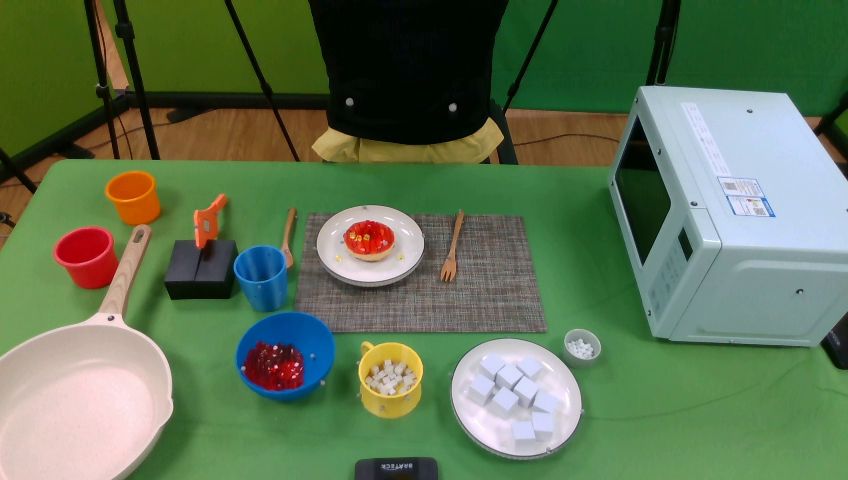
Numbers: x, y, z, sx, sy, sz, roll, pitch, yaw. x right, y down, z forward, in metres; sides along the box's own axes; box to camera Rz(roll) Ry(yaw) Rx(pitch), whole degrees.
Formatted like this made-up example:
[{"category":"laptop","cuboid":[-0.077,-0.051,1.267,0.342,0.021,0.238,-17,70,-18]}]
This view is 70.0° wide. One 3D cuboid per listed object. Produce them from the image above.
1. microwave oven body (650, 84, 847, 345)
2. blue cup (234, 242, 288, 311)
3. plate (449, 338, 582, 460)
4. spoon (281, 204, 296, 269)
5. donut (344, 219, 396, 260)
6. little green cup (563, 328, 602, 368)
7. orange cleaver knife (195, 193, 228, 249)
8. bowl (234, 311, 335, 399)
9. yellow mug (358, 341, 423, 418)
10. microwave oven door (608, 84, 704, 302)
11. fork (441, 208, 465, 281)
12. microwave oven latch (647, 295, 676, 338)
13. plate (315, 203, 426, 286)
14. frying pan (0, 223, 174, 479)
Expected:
[{"category":"microwave oven body","cuboid":[0.569,-0.054,1.116,0.326,0.261,0.439,2,46,-1]},{"category":"blue cup","cuboid":[-0.276,0.072,1.052,0.093,0.101,0.092,1,48,-1]},{"category":"plate","cuboid":[0.141,0.251,0.955,0.208,0.039,0.206,2,47,-2]},{"category":"spoon","cuboid":[-0.266,-0.008,1.182,0.041,0.022,0.192,-14,46,12]},{"category":"donut","cuboid":[-0.103,-0.002,1.158,0.099,0.048,0.098,2,43,-2]},{"category":"little green cup","cuboid":[0.266,0.185,1.025,0.061,0.039,0.061,1,45,-1]},{"category":"orange cleaver knife","cuboid":[-0.405,-0.041,1.163,0.012,0.077,0.210,-1,18,-3]},{"category":"bowl","cuboid":[-0.214,0.194,0.956,0.151,0.077,0.150,2,46,-2]},{"category":"yellow mug","cuboid":[-0.063,0.210,0.961,0.100,0.064,0.130,-29,54,-28]},{"category":"microwave oven door","cuboid":[0.424,-0.096,1.138,0.039,0.245,0.353,2,47,-1]},{"category":"fork","cuboid":[0.061,0.005,1.190,0.028,0.019,0.206,3,47,13]},{"category":"microwave oven latch","cuboid":[0.413,0.133,1.060,0.030,0.029,0.078,4,46,1]},{"category":"plate","cuboid":[-0.101,0.012,1.159,0.209,0.038,0.208,2,46,-2]},{"category":"frying pan","cuboid":[-0.505,0.169,0.941,0.307,0.103,0.485,5,54,-1]}]
